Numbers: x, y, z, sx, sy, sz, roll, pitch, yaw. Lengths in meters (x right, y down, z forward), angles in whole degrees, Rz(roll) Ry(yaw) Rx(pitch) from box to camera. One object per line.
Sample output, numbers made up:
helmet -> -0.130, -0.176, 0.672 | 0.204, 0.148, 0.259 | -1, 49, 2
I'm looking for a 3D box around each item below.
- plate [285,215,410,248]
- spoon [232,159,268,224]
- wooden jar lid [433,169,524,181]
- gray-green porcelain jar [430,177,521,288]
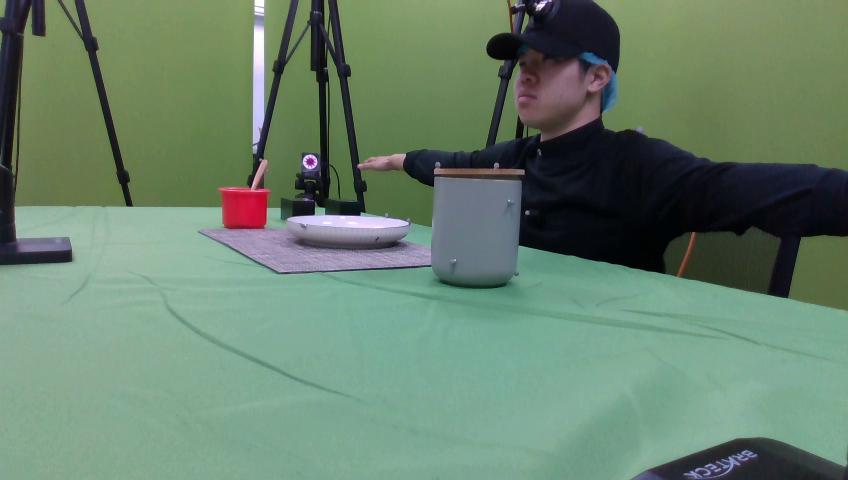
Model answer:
plate -> -0.127, -0.015, 1.012 | 0.208, 0.039, 0.207 | 3, 7, 0
spoon -> -0.342, -0.101, 1.218 | 0.041, 0.021, 0.193 | 4, 51, 4
wooden jar lid -> 0.064, -0.074, 0.717 | 0.108, 0.020, 0.108 | 0, 5, 0
gray-green porcelain jar -> 0.060, -0.011, 0.725 | 0.106, 0.126, 0.106 | 2, 7, 0
